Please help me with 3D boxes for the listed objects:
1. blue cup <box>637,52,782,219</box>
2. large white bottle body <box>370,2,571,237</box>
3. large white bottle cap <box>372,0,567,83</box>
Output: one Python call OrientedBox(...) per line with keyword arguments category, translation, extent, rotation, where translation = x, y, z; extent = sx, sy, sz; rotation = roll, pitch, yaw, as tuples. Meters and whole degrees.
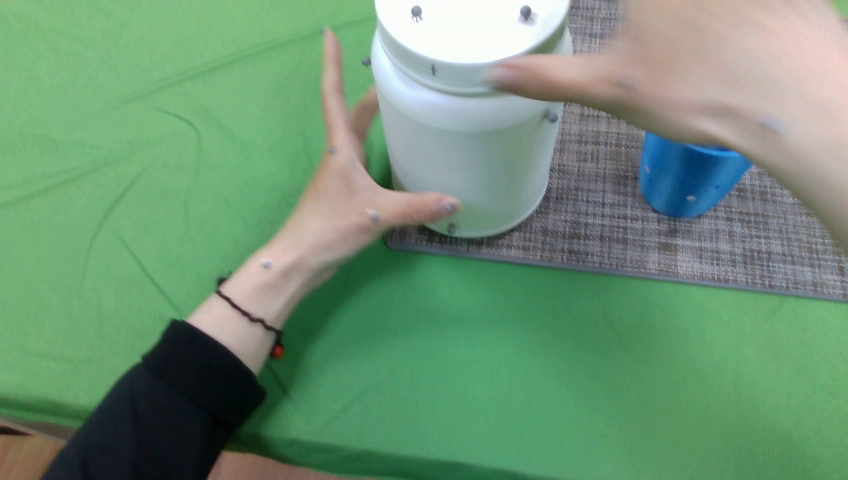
OrientedBox(category="blue cup", translation=(0.202, -0.067, 0.454), extent=(0.092, 0.101, 0.092), rotation=(-2, 60, 4))
OrientedBox(category="large white bottle body", translation=(0.032, -0.099, 0.433), extent=(0.130, 0.186, 0.129), rotation=(-1, 61, 3))
OrientedBox(category="large white bottle cap", translation=(0.027, -0.140, 0.359), extent=(0.115, 0.018, 0.114), rotation=(-1, 61, 3))
